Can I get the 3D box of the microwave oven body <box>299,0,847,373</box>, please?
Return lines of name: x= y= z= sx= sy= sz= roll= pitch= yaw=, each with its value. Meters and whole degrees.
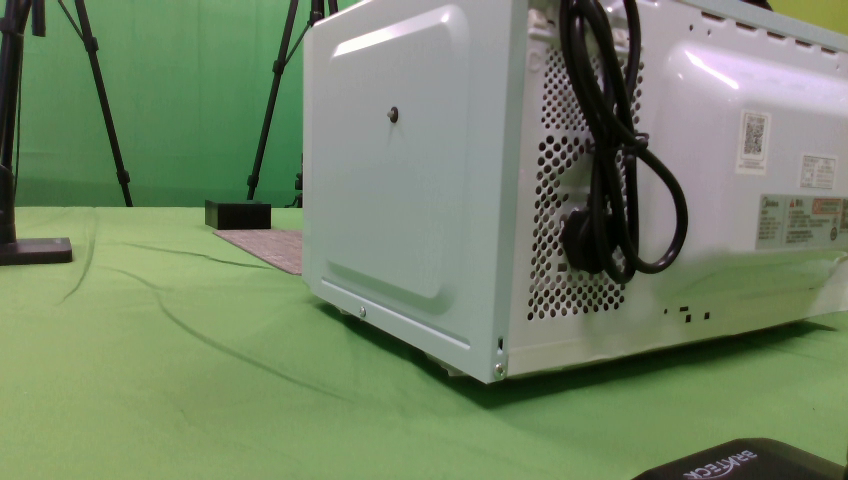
microwave oven body: x=0.151 y=-0.055 z=0.542 sx=0.444 sy=0.260 sz=0.324 roll=-2 pitch=7 yaw=-33

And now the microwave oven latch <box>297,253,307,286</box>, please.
microwave oven latch: x=-0.081 y=0.027 z=0.581 sx=0.079 sy=0.029 sz=0.030 roll=-1 pitch=7 yaw=-30

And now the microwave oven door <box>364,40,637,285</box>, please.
microwave oven door: x=0.105 y=-0.081 z=0.694 sx=0.358 sy=0.243 sz=0.039 roll=-2 pitch=9 yaw=-30
